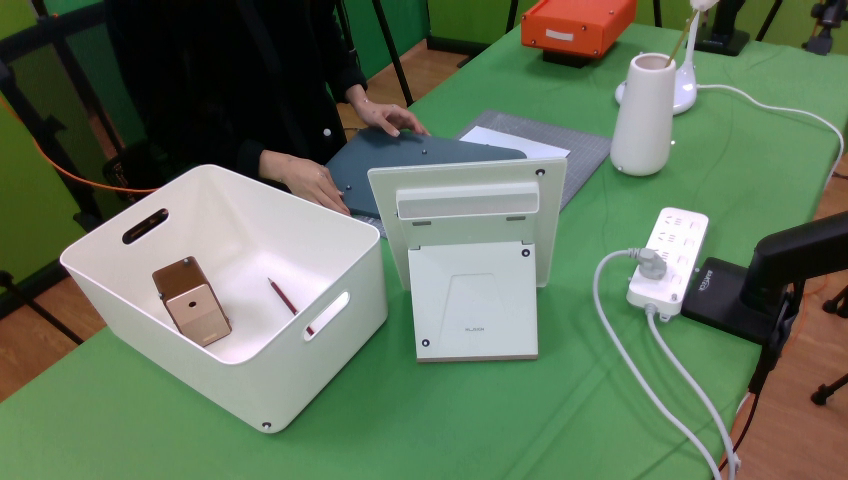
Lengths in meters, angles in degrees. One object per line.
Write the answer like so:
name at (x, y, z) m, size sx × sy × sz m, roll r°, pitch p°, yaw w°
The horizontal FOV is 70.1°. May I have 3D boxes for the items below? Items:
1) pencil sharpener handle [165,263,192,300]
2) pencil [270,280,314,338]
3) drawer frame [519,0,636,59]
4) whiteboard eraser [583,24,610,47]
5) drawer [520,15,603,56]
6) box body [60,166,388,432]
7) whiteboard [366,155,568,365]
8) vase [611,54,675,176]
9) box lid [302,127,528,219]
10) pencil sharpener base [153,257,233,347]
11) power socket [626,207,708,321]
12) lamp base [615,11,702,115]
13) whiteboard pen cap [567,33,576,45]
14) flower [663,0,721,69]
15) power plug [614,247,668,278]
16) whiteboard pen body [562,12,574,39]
pencil sharpener handle at (-0.353, 0.054, 0.867) m, size 0.036 × 0.068 × 0.030 m, roll -18°, pitch 40°, yaw -28°
pencil at (-0.187, 0.106, 0.880) m, size 0.012 × 0.012 × 0.192 m, roll -27°, pitch 41°, yaw -22°
drawer frame at (0.362, -0.518, 1.423) m, size 0.200 × 0.083 × 0.214 m, roll 19°, pitch 48°, yaw 29°
whiteboard eraser at (0.407, -0.479, 1.423) m, size 0.055 × 0.042 × 0.113 m, roll -3°, pitch 9°, yaw 20°
drawer at (0.359, -0.517, 1.416) m, size 0.193 × 0.073 × 0.212 m, roll 20°, pitch 47°, yaw 29°
box body at (-0.256, 0.065, 0.827) m, size 0.361 × 0.161 × 0.255 m, roll 20°, pitch 48°, yaw 29°
whiteboard at (0.059, 0.050, 0.738) m, size 0.217 × 0.307 × 0.143 m, roll -2°, pitch 60°, yaw 6°
vase at (0.377, -0.209, 1.031) m, size 0.098 × 0.201 × 0.097 m, roll -3°, pitch 40°, yaw 3°
box lid at (-0.013, -0.118, 1.119) m, size 0.369 × 0.015 × 0.263 m, roll 13°, pitch 45°, yaw 21°
pencil sharpener base at (-0.321, 0.088, 0.843) m, size 0.061 × 0.107 × 0.076 m, roll -27°, pitch 44°, yaw -20°
power socket at (0.359, 0.025, 0.886) m, size 0.072 × 0.033 × 0.227 m, roll 16°, pitch 46°, yaw 26°
lamp base at (0.484, -0.364, 1.211) m, size 0.180 × 0.181 × 0.159 m, roll -15°, pitch 41°, yaw -14°
whiteboard pen cap at (0.339, -0.463, 1.390) m, size 0.018 × 0.018 × 0.033 m, roll -2°, pitch 44°, yaw 6°
flower at (0.379, -0.261, 0.965) m, size 0.044 × 0.362 × 0.038 m, roll 20°, pitch 52°, yaw 5°
power plug at (0.306, 0.031, 0.851) m, size 0.072 × 0.053 × 0.035 m, roll 24°, pitch 49°, yaw 33°
whiteboard pen body at (0.341, -0.506, 1.430) m, size 0.017 × 0.017 × 0.140 m, roll -2°, pitch 42°, yaw 6°
